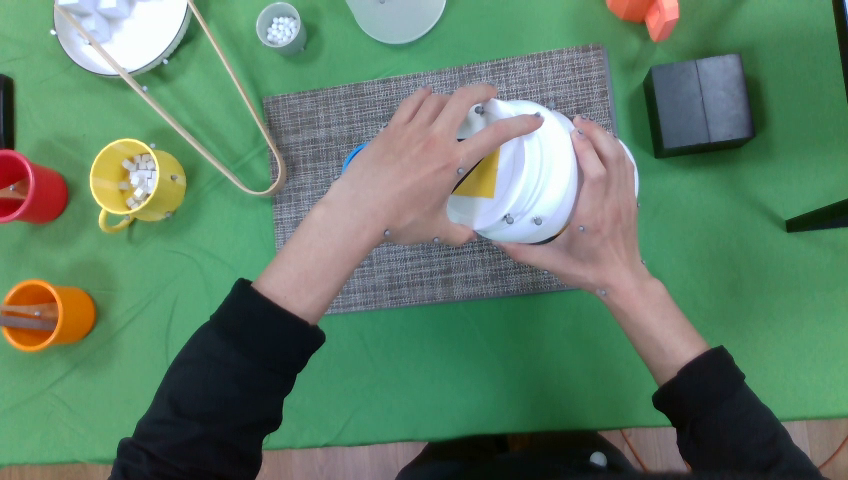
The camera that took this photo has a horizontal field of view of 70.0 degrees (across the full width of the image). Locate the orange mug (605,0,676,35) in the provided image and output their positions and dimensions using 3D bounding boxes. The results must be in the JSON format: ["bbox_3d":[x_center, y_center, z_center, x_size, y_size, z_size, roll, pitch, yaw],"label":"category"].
[{"bbox_3d":[0.264,-0.312,0.714,0.083,0.101,0.125,-17,78,7],"label":"orange mug"}]

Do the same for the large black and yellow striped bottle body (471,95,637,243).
[{"bbox_3d":[0.108,-0.065,0.587,0.130,0.185,0.130,-3,85,44],"label":"large black and yellow striped bottle body"}]

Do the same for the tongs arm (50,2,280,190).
[{"bbox_3d":[-0.345,-0.196,0.807,0.051,0.026,0.384,-45,88,-1],"label":"tongs arm"}]

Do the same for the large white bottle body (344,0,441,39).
[{"bbox_3d":[-0.052,-0.338,0.720,0.130,0.185,0.130,-1,84,9],"label":"large white bottle body"}]

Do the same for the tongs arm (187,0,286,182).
[{"bbox_3d":[-0.281,-0.250,0.805,0.028,0.028,0.387,-31,88,-4],"label":"tongs arm"}]

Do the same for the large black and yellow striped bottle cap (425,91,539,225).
[{"bbox_3d":[0.047,-0.070,0.524,0.114,0.019,0.115,2,93,45],"label":"large black and yellow striped bottle cap"}]

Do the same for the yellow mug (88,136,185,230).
[{"bbox_3d":[-0.391,-0.070,0.809,0.099,0.064,0.131,32,92,10],"label":"yellow mug"}]

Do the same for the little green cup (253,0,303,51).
[{"bbox_3d":[-0.192,-0.285,0.811,0.061,0.039,0.061,-1,86,8],"label":"little green cup"}]

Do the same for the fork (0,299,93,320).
[{"bbox_3d":[-0.541,0.083,0.776,0.209,0.018,0.028,10,84,-34],"label":"fork"}]

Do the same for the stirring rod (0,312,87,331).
[{"bbox_3d":[-0.531,0.100,0.776,0.006,0.177,0.014,-23,61,49],"label":"stirring rod"}]

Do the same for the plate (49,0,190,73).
[{"bbox_3d":[-0.421,-0.332,0.850,0.207,0.039,0.207,-1,86,9],"label":"plate"}]

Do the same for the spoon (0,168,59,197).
[{"bbox_3d":[-0.588,-0.056,0.798,0.194,0.022,0.041,-24,77,-39],"label":"spoon"}]

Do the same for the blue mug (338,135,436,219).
[{"bbox_3d":[-0.034,-0.068,0.731,0.116,0.106,0.082,19,88,10],"label":"blue mug"}]
